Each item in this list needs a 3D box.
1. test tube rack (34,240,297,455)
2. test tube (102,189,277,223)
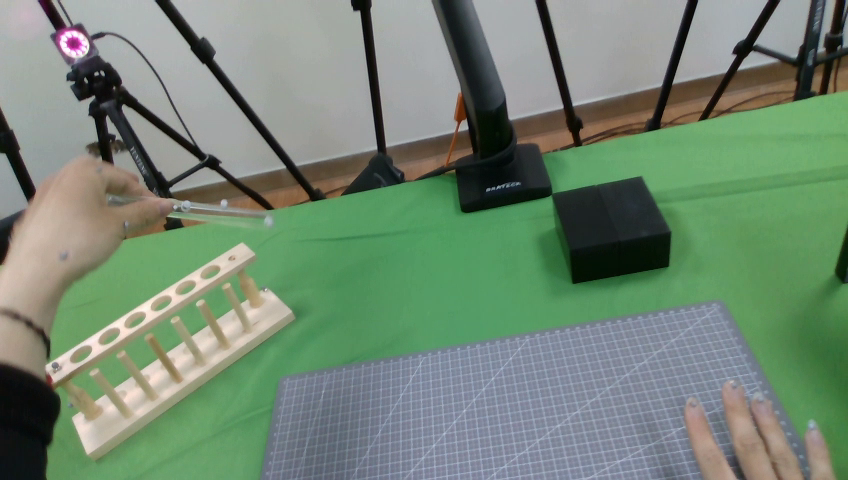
[{"bbox_3d":[-0.267,0.108,0.650,0.242,0.086,0.066,-36,43,-23],"label":"test tube rack"},{"bbox_3d":[-0.202,-0.029,0.539,0.151,0.017,0.017,5,23,-39],"label":"test tube"}]
